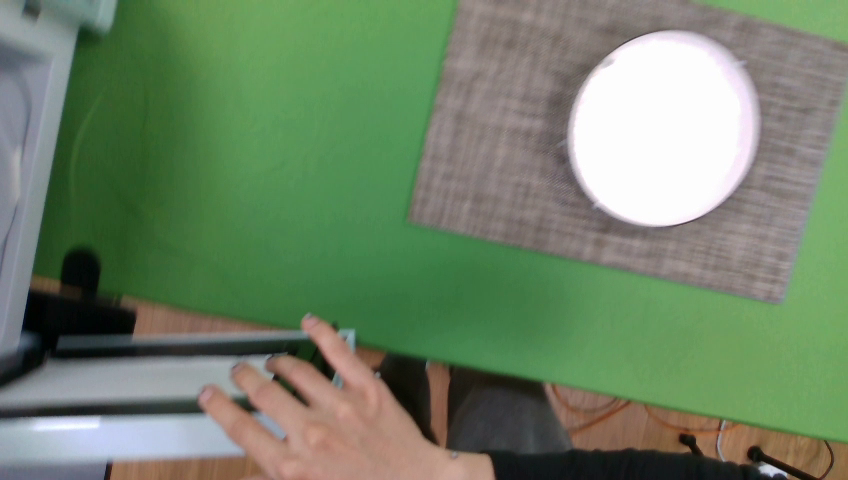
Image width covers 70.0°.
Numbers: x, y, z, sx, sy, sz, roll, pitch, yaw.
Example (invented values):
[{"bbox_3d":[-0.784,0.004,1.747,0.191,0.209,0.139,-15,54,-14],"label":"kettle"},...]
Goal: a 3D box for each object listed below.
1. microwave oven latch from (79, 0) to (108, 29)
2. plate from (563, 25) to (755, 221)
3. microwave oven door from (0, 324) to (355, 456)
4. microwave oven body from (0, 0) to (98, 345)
[{"bbox_3d":[-0.332,-0.256,0.605,0.030,0.029,0.079,15,95,-5],"label":"microwave oven latch"},{"bbox_3d":[0.254,-0.125,0.666,0.209,0.038,0.209,0,96,-3],"label":"plate"},{"bbox_3d":[-0.248,0.126,0.549,0.356,0.243,0.039,-2,95,-4],"label":"microwave oven door"},{"bbox_3d":[-0.510,-0.107,0.513,0.326,0.259,0.442,12,96,-5],"label":"microwave oven body"}]
